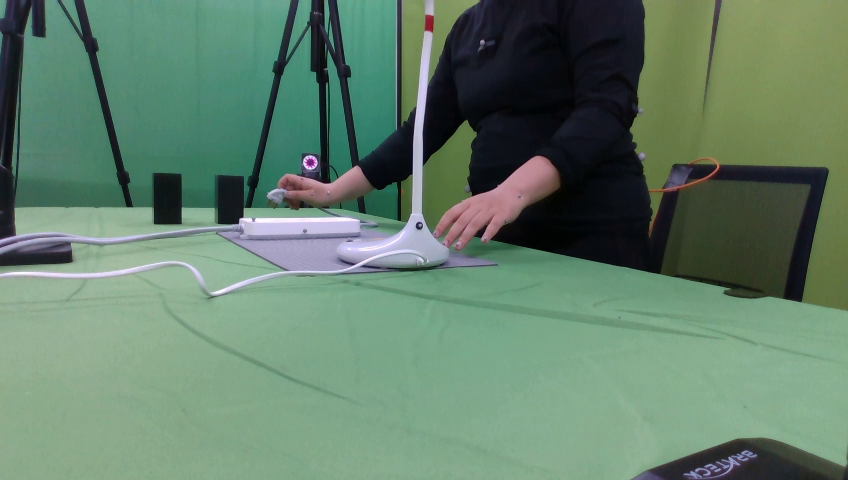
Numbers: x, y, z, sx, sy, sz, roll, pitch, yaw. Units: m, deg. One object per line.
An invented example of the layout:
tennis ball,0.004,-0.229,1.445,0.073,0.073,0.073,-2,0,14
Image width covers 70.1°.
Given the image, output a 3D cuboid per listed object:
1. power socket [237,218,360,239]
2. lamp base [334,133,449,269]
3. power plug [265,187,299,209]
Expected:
power socket,-0.221,-0.023,1.080,0.228,0.032,0.072,-2,7,-32
lamp base,-0.034,-0.058,0.830,0.161,0.180,0.178,-3,12,-36
power plug,-0.320,-0.089,1.362,0.073,0.052,0.035,24,15,-30
